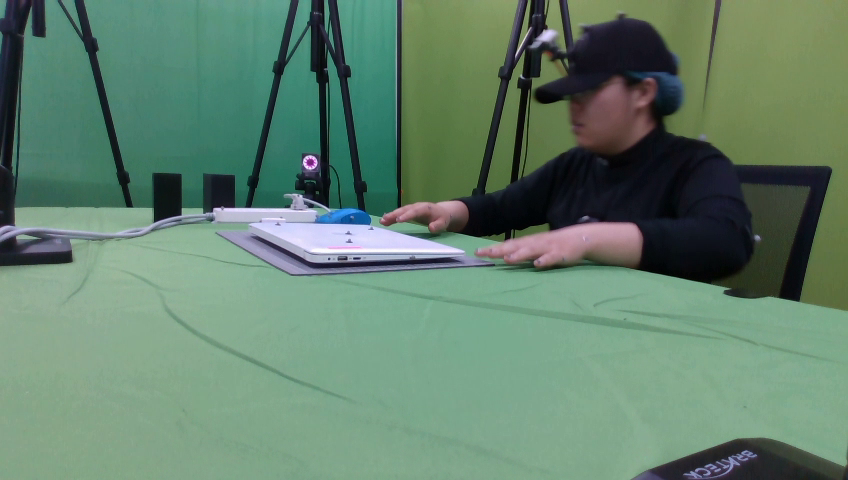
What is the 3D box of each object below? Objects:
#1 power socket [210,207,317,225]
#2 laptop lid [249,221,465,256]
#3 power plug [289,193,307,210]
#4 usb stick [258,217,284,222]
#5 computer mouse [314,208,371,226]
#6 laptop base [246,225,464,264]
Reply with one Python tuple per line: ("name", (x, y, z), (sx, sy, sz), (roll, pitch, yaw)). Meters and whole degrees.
("power socket", (-0.334, -0.051, 1.281), (0.228, 0.032, 0.072), (-1, 8, -28))
("laptop lid", (-0.122, -0.005, 0.955), (0.243, 0.013, 0.355), (1, 7, -28))
("power plug", (-0.280, -0.076, 1.340), (0.035, 0.052, 0.072), (3, 6, -17))
("usb stick", (-0.290, -0.028, 1.119), (0.059, 0.027, 0.021), (-4, 13, -29))
("computer mouse", (-0.174, -0.047, 1.291), (0.118, 0.041, 0.062), (-8, 14, -33))
("laptop base", (-0.125, 0.006, 0.955), (0.237, 0.023, 0.352), (2, 6, -30))
